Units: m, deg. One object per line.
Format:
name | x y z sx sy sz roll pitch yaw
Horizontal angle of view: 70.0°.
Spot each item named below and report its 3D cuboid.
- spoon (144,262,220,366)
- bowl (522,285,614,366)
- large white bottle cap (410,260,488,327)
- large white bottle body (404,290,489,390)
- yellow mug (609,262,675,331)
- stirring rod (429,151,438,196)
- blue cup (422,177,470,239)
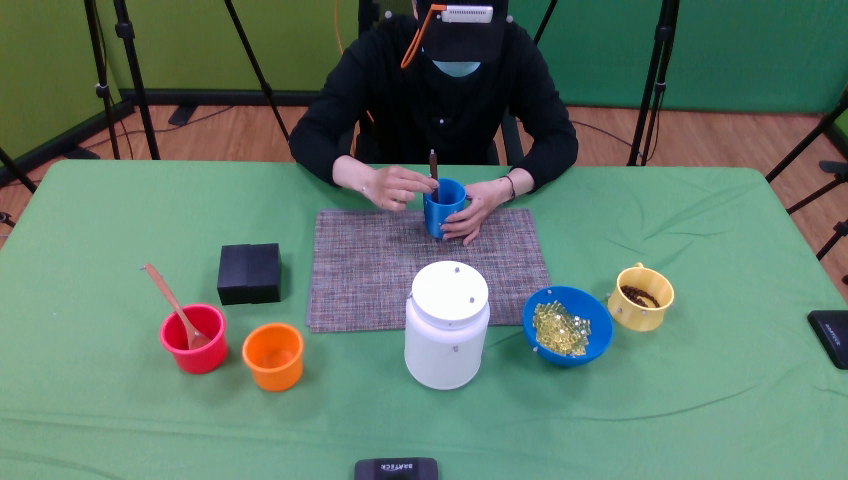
spoon | -0.389 0.118 0.971 0.041 0.021 0.194 -34 101 -33
bowl | 0.235 0.158 1.022 0.151 0.077 0.150 2 46 -2
large white bottle cap | 0.037 0.077 0.893 0.115 0.018 0.114 2 47 -2
large white bottle body | 0.034 0.136 0.955 0.131 0.185 0.130 2 46 -2
yellow mug | 0.393 0.094 1.103 0.100 0.064 0.130 7 45 4
stirring rod | 0.020 -0.093 1.157 0.014 0.177 0.006 -16 43 -14
blue cup | 0.037 -0.058 1.195 0.093 0.101 0.092 2 44 -2
